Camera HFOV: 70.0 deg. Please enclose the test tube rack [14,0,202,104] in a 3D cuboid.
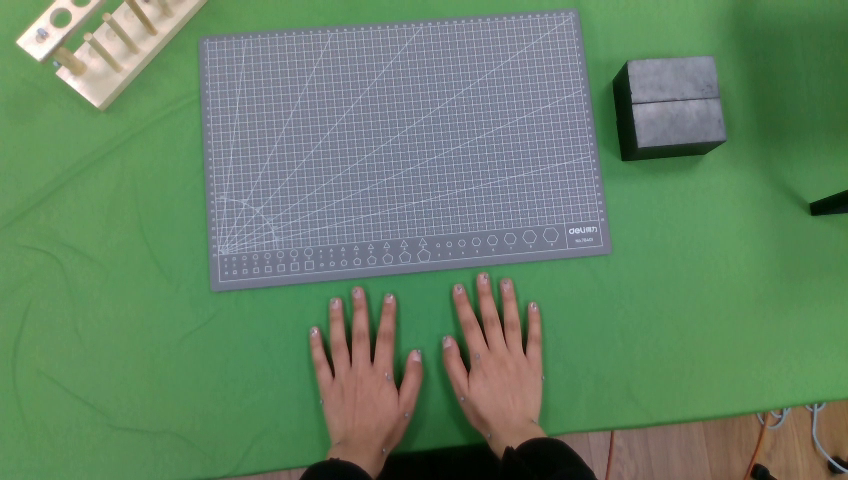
[{"bbox_3d":[-0.316,-0.273,0.668,0.066,0.085,0.242,39,82,4],"label":"test tube rack"}]
